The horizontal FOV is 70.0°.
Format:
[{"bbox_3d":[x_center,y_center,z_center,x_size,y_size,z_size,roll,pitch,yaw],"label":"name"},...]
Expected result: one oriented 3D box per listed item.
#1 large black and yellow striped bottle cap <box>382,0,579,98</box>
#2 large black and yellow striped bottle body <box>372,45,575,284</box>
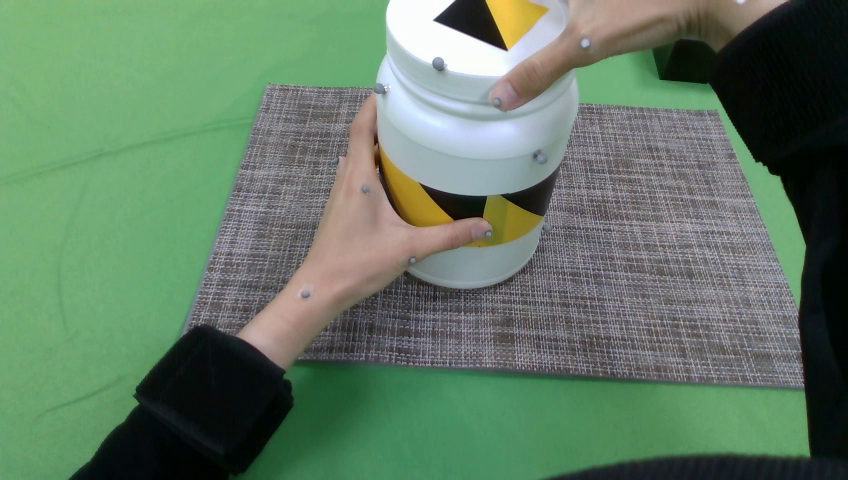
[{"bbox_3d":[0.032,-0.126,0.354,0.115,0.019,0.114,2,53,-2],"label":"large black and yellow striped bottle cap"},{"bbox_3d":[0.030,-0.070,0.422,0.131,0.185,0.129,2,51,-2],"label":"large black and yellow striped bottle body"}]
